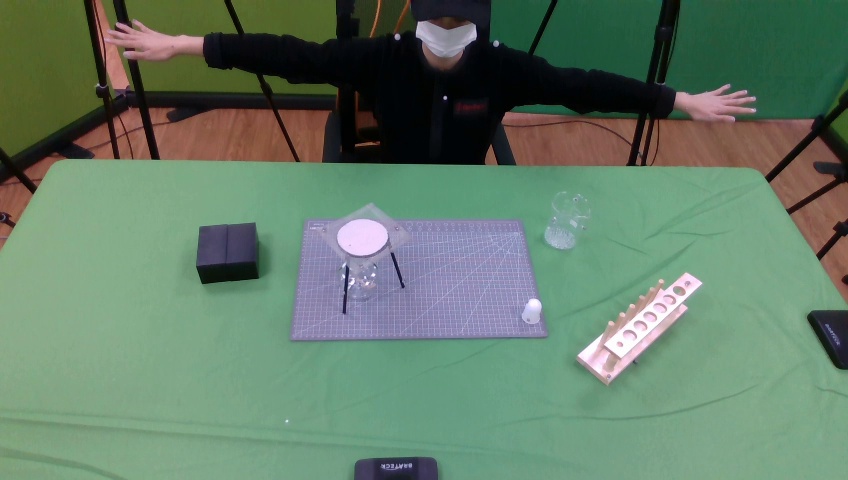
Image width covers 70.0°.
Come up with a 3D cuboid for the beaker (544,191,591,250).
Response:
[{"bbox_3d":[0.282,-0.035,1.199,0.083,0.101,0.074,31,52,23],"label":"beaker"}]

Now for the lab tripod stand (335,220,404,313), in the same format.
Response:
[{"bbox_3d":[-0.110,0.039,1.070,0.148,0.132,0.147,1,46,-1],"label":"lab tripod stand"}]

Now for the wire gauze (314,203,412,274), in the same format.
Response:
[{"bbox_3d":[-0.103,-0.009,1.023,0.121,0.011,0.124,-29,53,-27],"label":"wire gauze"}]

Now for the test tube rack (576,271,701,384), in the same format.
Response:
[{"bbox_3d":[0.373,0.138,1.048,0.242,0.085,0.066,-31,55,-29],"label":"test tube rack"}]

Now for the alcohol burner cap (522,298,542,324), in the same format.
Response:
[{"bbox_3d":[0.193,0.124,1.074,0.034,0.048,0.033,1,46,-1],"label":"alcohol burner cap"}]

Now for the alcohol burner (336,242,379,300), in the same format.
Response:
[{"bbox_3d":[-0.118,0.050,1.072,0.078,0.120,0.077,2,44,-1],"label":"alcohol burner"}]
